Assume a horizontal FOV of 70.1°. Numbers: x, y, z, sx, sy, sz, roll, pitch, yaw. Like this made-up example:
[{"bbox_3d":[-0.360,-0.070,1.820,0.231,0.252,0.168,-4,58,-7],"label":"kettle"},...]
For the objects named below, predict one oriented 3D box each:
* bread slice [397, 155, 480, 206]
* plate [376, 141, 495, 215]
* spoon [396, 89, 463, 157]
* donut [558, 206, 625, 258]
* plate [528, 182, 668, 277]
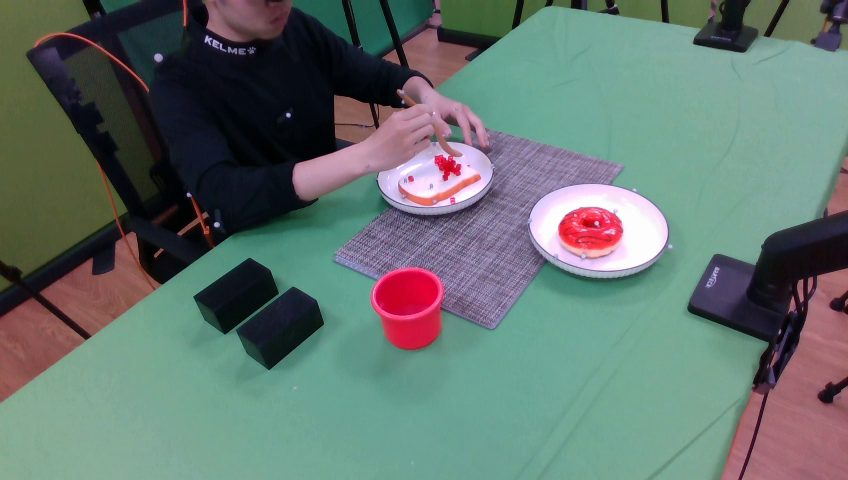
[{"bbox_3d":[0.020,-0.106,1.077,0.132,0.019,0.104,-31,46,-29],"label":"bread slice"},{"bbox_3d":[0.022,-0.106,1.072,0.209,0.038,0.208,-4,40,4],"label":"plate"},{"bbox_3d":[0.011,-0.196,1.024,0.021,0.195,0.041,-46,46,1],"label":"spoon"},{"bbox_3d":[0.254,-0.015,0.917,0.099,0.048,0.098,-5,41,5],"label":"donut"},{"bbox_3d":[0.264,-0.014,0.933,0.207,0.039,0.206,-3,42,3],"label":"plate"}]
